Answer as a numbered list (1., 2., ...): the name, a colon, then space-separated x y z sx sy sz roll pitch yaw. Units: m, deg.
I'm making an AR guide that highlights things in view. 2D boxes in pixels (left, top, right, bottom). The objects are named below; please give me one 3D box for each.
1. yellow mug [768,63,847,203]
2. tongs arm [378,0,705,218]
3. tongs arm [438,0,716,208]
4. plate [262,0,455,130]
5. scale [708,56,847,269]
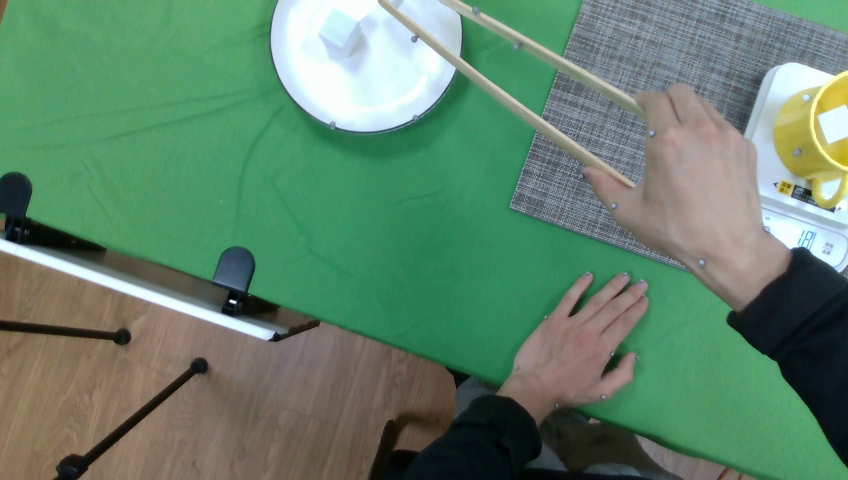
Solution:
1. yellow mug: 0.404 -0.101 0.597 0.100 0.064 0.131 9 91 2
2. tongs arm: 0.073 -0.133 0.528 0.028 0.028 0.383 -46 60 1
3. tongs arm: 0.089 -0.150 0.526 0.381 0.027 0.051 40 92 30
4. plate: -0.069 -0.220 0.662 0.207 0.039 0.207 0 90 1
5. scale: 0.403 -0.082 0.643 0.148 0.031 0.201 19 90 2
